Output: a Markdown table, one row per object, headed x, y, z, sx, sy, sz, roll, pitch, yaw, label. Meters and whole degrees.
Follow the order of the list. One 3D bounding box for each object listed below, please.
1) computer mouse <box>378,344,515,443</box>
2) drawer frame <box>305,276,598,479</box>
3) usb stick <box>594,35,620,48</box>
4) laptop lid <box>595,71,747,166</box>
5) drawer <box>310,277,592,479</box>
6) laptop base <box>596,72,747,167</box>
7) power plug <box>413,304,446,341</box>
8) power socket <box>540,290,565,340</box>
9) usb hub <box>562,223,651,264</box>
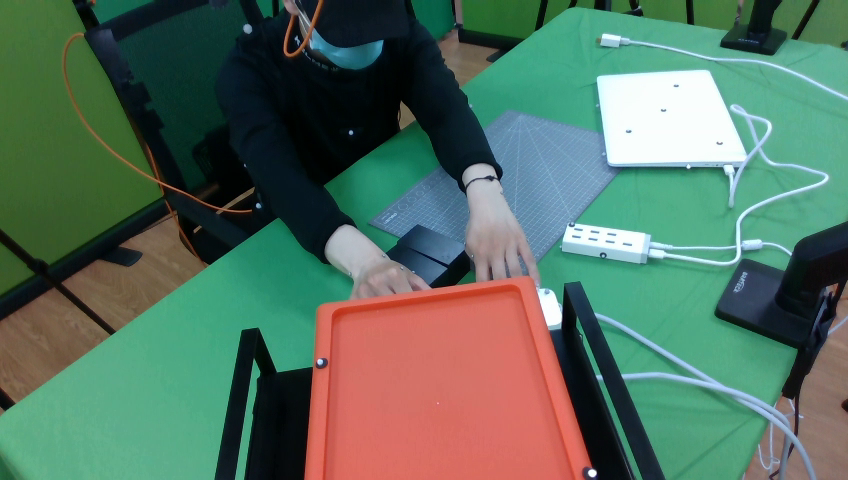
| x | y | z | sx | sy | sz | roll | pitch | yaw | label |
| --- | --- | --- | --- | --- | --- | --- | --- | --- | --- |
| 0.018 | 0.126 | 0.521 | 0.116 | 0.041 | 0.063 | 13 | 47 | 29 | computer mouse |
| 0.014 | 0.137 | 0.486 | 0.202 | 0.083 | 0.212 | -8 | 41 | -1 | drawer frame |
| 0.443 | -0.482 | 1.467 | 0.059 | 0.021 | 0.027 | 10 | 43 | 10 | usb stick |
| 0.466 | -0.248 | 1.181 | 0.241 | 0.013 | 0.355 | 1 | 41 | 12 | laptop lid |
| 0.013 | 0.137 | 0.489 | 0.195 | 0.073 | 0.210 | -7 | 41 | 0 | drawer |
| 0.469 | -0.239 | 1.189 | 0.235 | 0.023 | 0.353 | -1 | 40 | 12 | laptop base |
| 0.007 | 0.114 | 0.774 | 0.035 | 0.053 | 0.072 | -9 | 46 | -3 | power plug |
| 0.080 | 0.111 | 0.823 | 0.227 | 0.033 | 0.072 | -6 | 41 | 0 | power socket |
| 0.279 | 0.004 | 0.926 | 0.124 | 0.025 | 0.049 | 10 | 43 | 19 | usb hub |
